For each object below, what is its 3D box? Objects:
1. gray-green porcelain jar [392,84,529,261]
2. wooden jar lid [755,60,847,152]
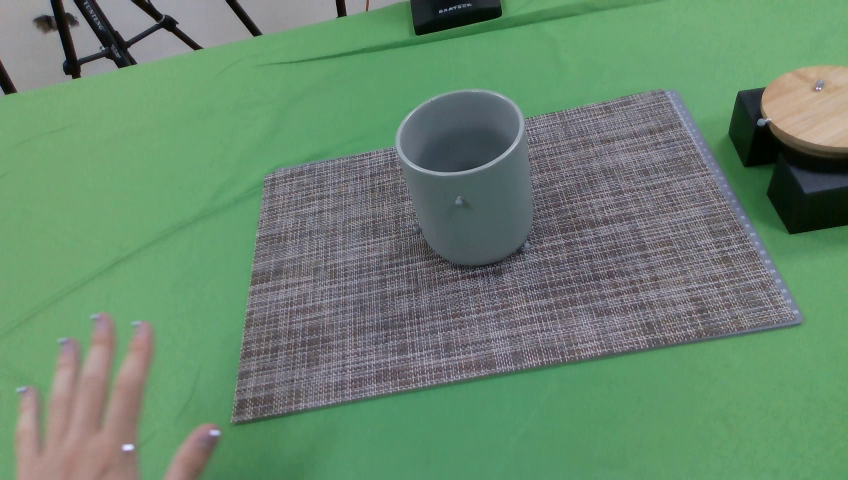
[{"bbox_3d":[0.037,-0.052,0.526,0.106,0.128,0.105,-7,50,9],"label":"gray-green porcelain jar"},{"bbox_3d":[0.337,-0.112,0.510,0.108,0.021,0.107,-7,51,9],"label":"wooden jar lid"}]
